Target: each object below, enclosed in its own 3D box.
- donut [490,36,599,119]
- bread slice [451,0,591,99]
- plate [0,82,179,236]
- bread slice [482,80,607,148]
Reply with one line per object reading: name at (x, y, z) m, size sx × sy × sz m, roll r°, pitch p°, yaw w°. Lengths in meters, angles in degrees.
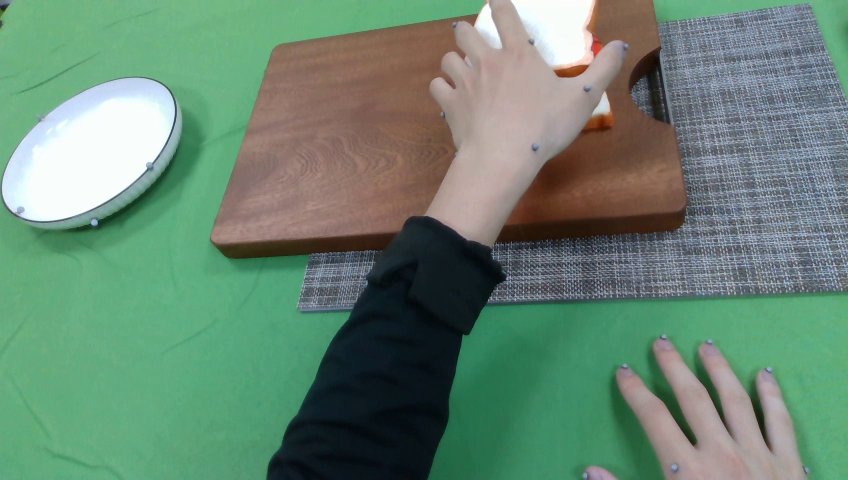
donut at (0.096, -0.144, 0.509) m, size 0.099 × 0.049 × 0.098 m, roll -7°, pitch 55°, yaw 11°
bread slice at (0.082, -0.169, 0.494) m, size 0.106 × 0.018 × 0.133 m, roll -5°, pitch 52°, yaw 23°
plate at (-0.361, -0.088, 0.664) m, size 0.209 × 0.038 × 0.207 m, roll -8°, pitch 55°, yaw 12°
bread slice at (0.101, -0.141, 0.543) m, size 0.105 × 0.019 × 0.130 m, roll -7°, pitch 56°, yaw 11°
